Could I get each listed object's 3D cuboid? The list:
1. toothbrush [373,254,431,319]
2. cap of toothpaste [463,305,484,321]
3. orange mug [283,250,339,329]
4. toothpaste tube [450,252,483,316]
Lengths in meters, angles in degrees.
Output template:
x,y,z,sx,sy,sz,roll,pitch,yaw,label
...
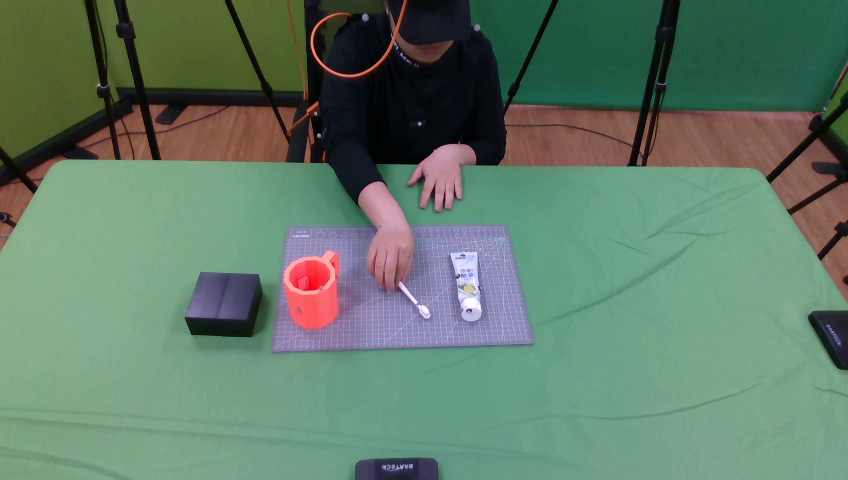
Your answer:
x,y,z,sx,sy,sz,roll,pitch,yaw,label
-0.044,0.081,1.115,0.014,0.017,0.180,-33,55,-17,toothbrush
0.087,0.128,1.064,0.037,0.037,0.011,2,40,-2,cap of toothpaste
-0.186,0.079,1.052,0.083,0.101,0.126,20,52,15,orange mug
0.084,0.077,1.122,0.055,0.035,0.164,3,41,-8,toothpaste tube
